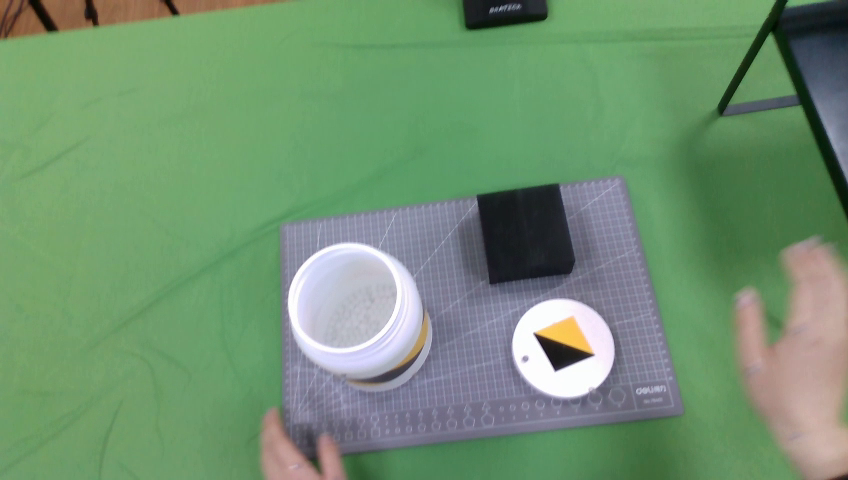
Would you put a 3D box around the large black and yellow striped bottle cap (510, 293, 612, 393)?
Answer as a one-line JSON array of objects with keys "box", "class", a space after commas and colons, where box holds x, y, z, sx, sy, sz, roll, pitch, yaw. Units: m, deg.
[{"box": [0.157, 0.117, 0.696, 0.115, 0.019, 0.114, -2, 69, 4], "class": "large black and yellow striped bottle cap"}]

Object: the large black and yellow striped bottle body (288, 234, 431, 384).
[{"box": [-0.064, 0.076, 0.644, 0.130, 0.185, 0.130, -2, 69, 5], "class": "large black and yellow striped bottle body"}]
